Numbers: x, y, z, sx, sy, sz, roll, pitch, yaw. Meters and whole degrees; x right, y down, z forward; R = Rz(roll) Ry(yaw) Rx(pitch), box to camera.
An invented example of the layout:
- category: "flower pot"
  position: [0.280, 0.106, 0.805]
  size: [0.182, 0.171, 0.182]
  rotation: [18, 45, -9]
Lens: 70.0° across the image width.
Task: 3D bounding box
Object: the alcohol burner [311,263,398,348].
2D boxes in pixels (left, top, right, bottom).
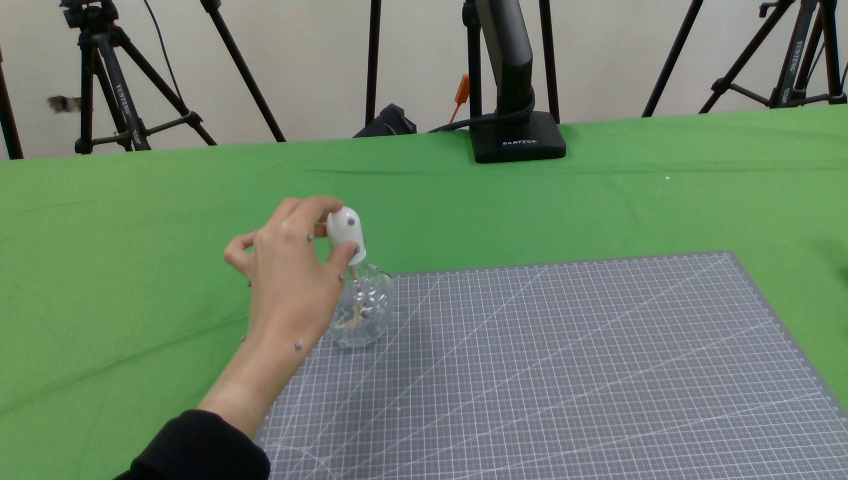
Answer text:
- category: "alcohol burner"
  position: [-0.062, 0.036, 0.524]
  size: [0.078, 0.120, 0.077]
  rotation: [-1, 38, 1]

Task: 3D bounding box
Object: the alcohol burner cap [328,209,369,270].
- category: "alcohol burner cap"
  position: [-0.063, -0.003, 0.498]
  size: [0.034, 0.048, 0.033]
  rotation: [0, 35, 1]
